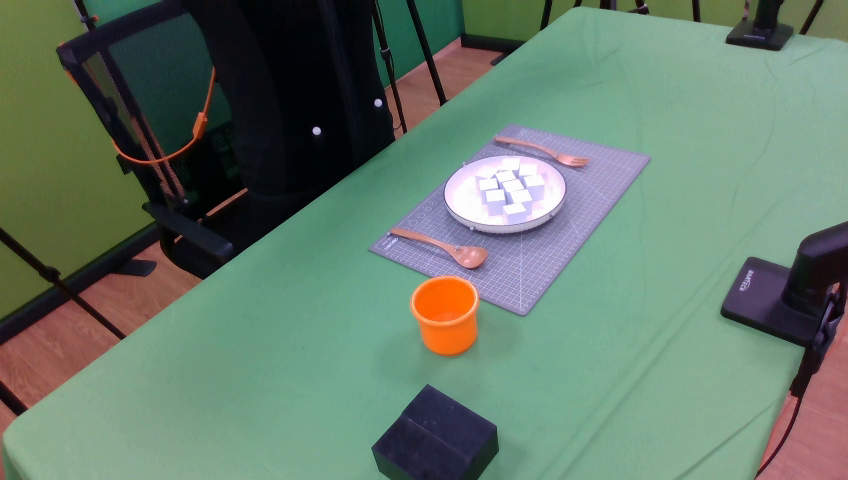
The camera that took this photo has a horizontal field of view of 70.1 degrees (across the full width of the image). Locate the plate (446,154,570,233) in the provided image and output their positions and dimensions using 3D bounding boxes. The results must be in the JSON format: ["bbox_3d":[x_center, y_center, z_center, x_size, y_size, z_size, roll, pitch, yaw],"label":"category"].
[{"bbox_3d":[0.142,-0.076,1.033,0.207,0.039,0.206,-5,40,5],"label":"plate"}]

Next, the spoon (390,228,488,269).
[{"bbox_3d":[0.019,0.006,0.970,0.192,0.022,0.041,21,66,31],"label":"spoon"}]

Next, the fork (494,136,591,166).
[{"bbox_3d":[0.219,-0.171,1.144,0.205,0.019,0.028,24,57,31],"label":"fork"}]
